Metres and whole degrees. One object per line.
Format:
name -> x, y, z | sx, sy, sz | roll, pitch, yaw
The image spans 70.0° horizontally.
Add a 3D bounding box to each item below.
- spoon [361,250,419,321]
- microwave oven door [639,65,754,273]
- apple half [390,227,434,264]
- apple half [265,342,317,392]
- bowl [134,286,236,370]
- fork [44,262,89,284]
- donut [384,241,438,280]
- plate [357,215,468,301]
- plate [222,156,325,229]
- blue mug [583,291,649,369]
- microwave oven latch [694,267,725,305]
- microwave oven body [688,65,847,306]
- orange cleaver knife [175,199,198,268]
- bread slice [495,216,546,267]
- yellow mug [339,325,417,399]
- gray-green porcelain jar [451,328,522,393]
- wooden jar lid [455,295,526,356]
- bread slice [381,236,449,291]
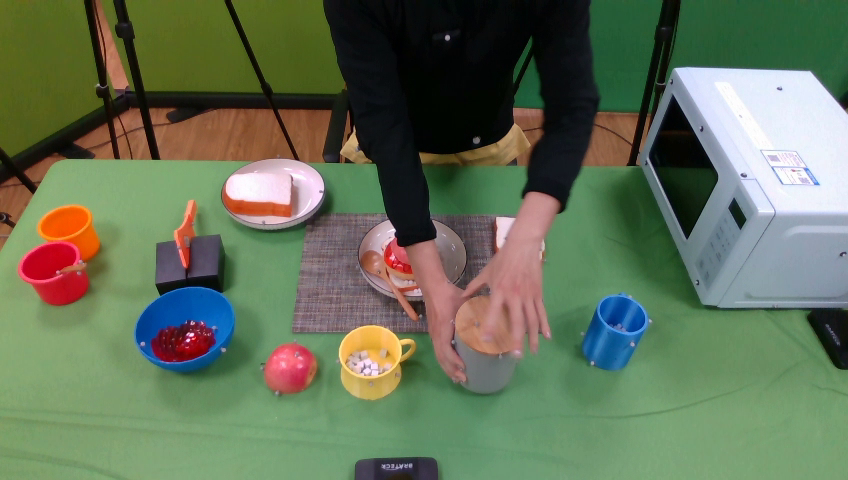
spoon -> -0.060, 0.079, 1.077 | 0.041, 0.022, 0.192 | -22, 43, -20
microwave oven door -> 0.522, -0.147, 1.192 | 0.039, 0.245, 0.353 | 1, 47, -3
apple half -> -0.022, 0.002, 1.085 | 0.081, 0.033, 0.081 | 7, 51, -8
apple half -> -0.214, 0.198, 0.970 | 0.074, 0.053, 0.080 | 19, 48, 11
bowl -> -0.377, 0.156, 0.981 | 0.151, 0.077, 0.150 | 2, 46, -2
fork -> -0.598, 0.054, 1.014 | 0.207, 0.019, 0.028 | -15, 29, 45
donut -> -0.025, 0.029, 1.109 | 0.099, 0.048, 0.098 | 2, 47, -2
plate -> -0.021, 0.037, 1.141 | 0.208, 0.039, 0.206 | 2, 46, -2
plate -> -0.308, -0.095, 1.251 | 0.209, 0.038, 0.208 | 2, 47, -2
blue mug -> 0.324, 0.142, 1.023 | 0.082, 0.106, 0.116 | 16, 48, 11
microwave oven latch -> 0.524, 0.082, 1.115 | 0.030, 0.029, 0.078 | 4, 46, 1
microwave oven body -> 0.669, -0.111, 1.176 | 0.326, 0.261, 0.439 | 0, 46, -3
orange cleaver knife -> -0.438, -0.017, 1.138 | 0.012, 0.077, 0.210 | -13, 27, -7
bread slice -> 0.194, 0.002, 1.204 | 0.105, 0.019, 0.131 | 5, 45, 2
yellow mug -> -0.071, 0.190, 0.978 | 0.131, 0.064, 0.099 | -17, 50, -20
gray-green porcelain jar -> 0.098, 0.174, 0.963 | 0.106, 0.127, 0.105 | 2, 47, -2
wooden jar lid -> 0.100, 0.131, 0.918 | 0.108, 0.021, 0.107 | 3, 48, -3
bread slice -> -0.026, 0.039, 1.140 | 0.107, 0.018, 0.133 | -12, 48, -16
